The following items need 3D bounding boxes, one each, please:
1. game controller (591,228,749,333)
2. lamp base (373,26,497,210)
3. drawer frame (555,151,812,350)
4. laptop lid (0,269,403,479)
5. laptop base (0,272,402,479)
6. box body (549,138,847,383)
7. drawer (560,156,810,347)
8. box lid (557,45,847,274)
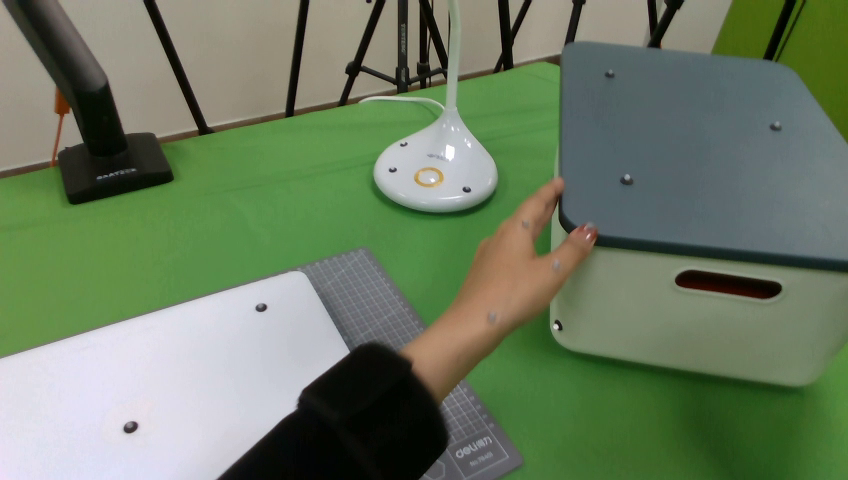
[{"bbox_3d":[0.246,0.038,0.600,0.155,0.052,0.096,4,68,0],"label":"game controller"},{"bbox_3d":[0.019,-0.156,0.738,0.160,0.182,0.178,8,37,6],"label":"lamp base"},{"bbox_3d":[0.245,0.001,0.626,0.201,0.083,0.211,6,38,2],"label":"drawer frame"},{"bbox_3d":[-0.221,0.144,0.462,0.358,0.013,0.239,-16,45,-22],"label":"laptop lid"},{"bbox_3d":[-0.222,0.151,0.470,0.355,0.023,0.233,-17,47,-24],"label":"laptop base"},{"bbox_3d":[0.266,-0.043,0.633,0.254,0.162,0.361,8,39,6],"label":"box body"},{"bbox_3d":[0.248,0.002,0.624,0.194,0.074,0.210,7,39,2],"label":"drawer"},{"bbox_3d":[0.260,-0.101,0.576,0.263,0.015,0.368,7,40,7],"label":"box lid"}]
